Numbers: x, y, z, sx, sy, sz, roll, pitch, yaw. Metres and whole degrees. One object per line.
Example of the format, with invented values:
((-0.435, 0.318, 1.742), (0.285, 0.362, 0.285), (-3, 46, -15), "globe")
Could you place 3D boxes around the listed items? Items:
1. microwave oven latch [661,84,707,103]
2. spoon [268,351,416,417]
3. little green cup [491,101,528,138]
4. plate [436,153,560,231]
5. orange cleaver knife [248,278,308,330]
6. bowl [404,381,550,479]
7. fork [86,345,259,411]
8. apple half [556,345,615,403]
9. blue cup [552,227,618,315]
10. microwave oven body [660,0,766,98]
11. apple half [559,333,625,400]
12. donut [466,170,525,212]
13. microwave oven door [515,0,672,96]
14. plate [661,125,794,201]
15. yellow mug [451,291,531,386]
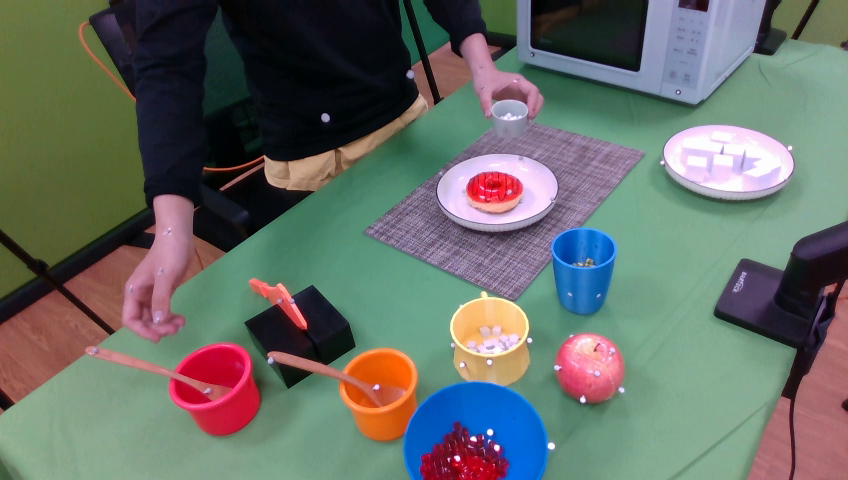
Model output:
((0.517, -0.296, 1.204), (0.078, 0.029, 0.030), (26, 52, 34), "microwave oven latch")
((-0.091, 0.163, 0.699), (0.021, 0.195, 0.041), (-44, 31, 28), "spoon")
((0.141, -0.200, 1.007), (0.061, 0.039, 0.061), (0, 42, 0), "little green cup")
((0.125, -0.078, 1.029), (0.209, 0.038, 0.208), (-4, 40, 4), "plate")
((-0.209, 0.088, 0.856), (0.012, 0.077, 0.210), (-34, 17, -23), "orange cleaver knife")
((0.058, 0.235, 0.645), (0.151, 0.077, 0.150), (-4, 39, 4), "bowl")
((-0.298, 0.166, 0.728), (0.209, 0.018, 0.028), (28, 47, -23), "fork")
((0.181, 0.167, 0.709), (0.080, 0.081, 0.033), (29, 50, 35), "apple half")
((0.218, 0.047, 0.825), (0.092, 0.100, 0.092), (-6, 39, 5), "blue cup")
((0.472, -0.513, 1.317), (0.438, 0.261, 0.327), (26, 51, 34), "microwave oven body")
((0.209, 0.147, 0.730), (0.080, 0.075, 0.053), (26, 48, 38), "apple half")
((0.121, -0.083, 1.019), (0.099, 0.048, 0.098), (-4, 39, 3), "donut")
((0.344, -0.455, 1.259), (0.353, 0.245, 0.039), (26, 51, 33), "microwave oven door")
((0.513, -0.128, 1.035), (0.207, 0.039, 0.206), (-4, 40, 4), "plate")
((0.086, 0.120, 0.786), (0.100, 0.064, 0.130), (-7, 39, 2), "yellow mug")
